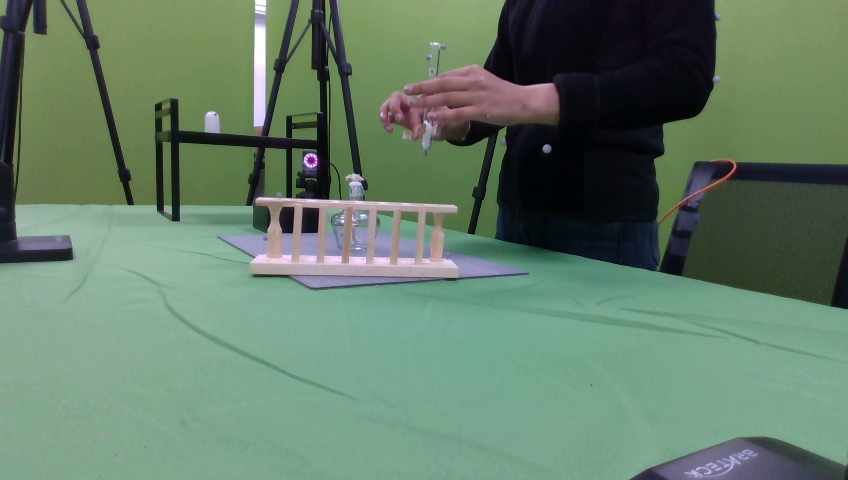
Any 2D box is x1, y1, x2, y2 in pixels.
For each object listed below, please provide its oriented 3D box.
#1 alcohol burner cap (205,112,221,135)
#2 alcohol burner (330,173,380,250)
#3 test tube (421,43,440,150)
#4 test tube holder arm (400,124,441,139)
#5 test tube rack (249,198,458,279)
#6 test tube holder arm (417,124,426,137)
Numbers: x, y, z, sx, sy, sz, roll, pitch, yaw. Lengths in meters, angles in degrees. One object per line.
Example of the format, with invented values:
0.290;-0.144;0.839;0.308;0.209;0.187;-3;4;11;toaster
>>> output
-0.443;-0.245;1.270;0.034;0.048;0.034;3;8;0;alcohol burner cap
-0.107;-0.044;0.938;0.078;0.119;0.078;1;6;0;alcohol burner
0.008;-0.204;0.866;0.017;0.150;0.017;5;16;-1;test tube
-0.008;-0.167;0.943;0.013;0.015;0.178;1;6;-18;test tube holder arm
-0.081;-0.002;0.732;0.243;0.085;0.066;2;8;-7;test tube rack
-0.004;-0.162;0.898;0.010;0.015;0.088;1;6;-3;test tube holder arm
